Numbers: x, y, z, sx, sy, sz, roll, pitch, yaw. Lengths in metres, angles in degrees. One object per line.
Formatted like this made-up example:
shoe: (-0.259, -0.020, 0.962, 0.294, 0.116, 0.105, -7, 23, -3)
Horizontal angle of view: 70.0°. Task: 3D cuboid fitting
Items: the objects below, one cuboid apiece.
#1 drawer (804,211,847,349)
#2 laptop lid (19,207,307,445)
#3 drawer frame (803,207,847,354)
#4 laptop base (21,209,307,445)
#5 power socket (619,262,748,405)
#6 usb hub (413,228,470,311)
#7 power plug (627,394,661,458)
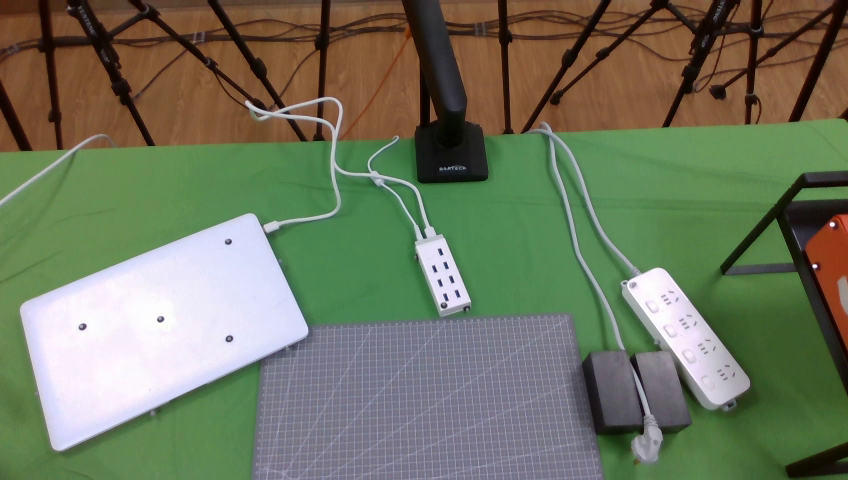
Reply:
drawer: (0.572, 0.061, 0.678, 0.212, 0.074, 0.192, -2, 60, -3)
laptop lid: (-0.371, 0.105, 0.860, 0.357, 0.013, 0.239, -23, 65, -14)
drawer frame: (0.576, 0.059, 0.678, 0.214, 0.083, 0.199, -3, 60, -4)
laptop base: (-0.372, 0.110, 0.871, 0.355, 0.023, 0.233, -24, 66, -14)
power socket: (0.369, 0.128, 0.869, 0.072, 0.033, 0.224, -22, 62, -14)
usb hub: (0.024, 0.044, 0.914, 0.049, 0.025, 0.124, -16, 62, -10)
power plug: (0.282, 0.243, 0.777, 0.035, 0.053, 0.072, 28, 43, -4)
